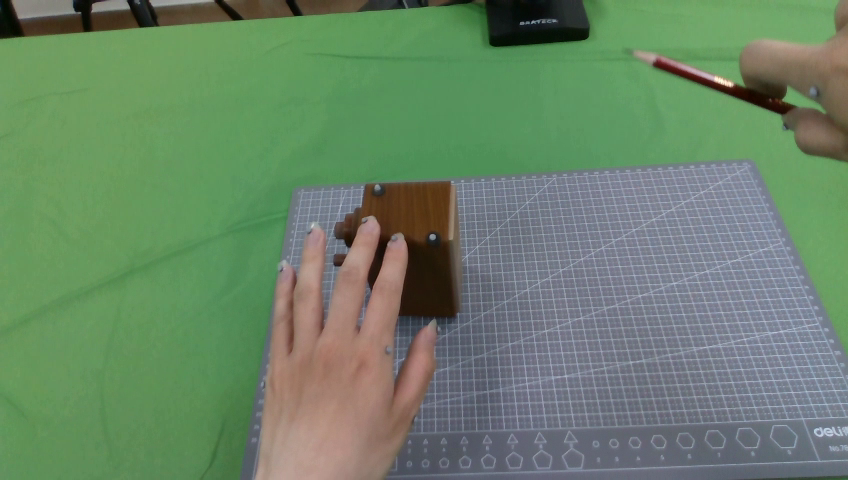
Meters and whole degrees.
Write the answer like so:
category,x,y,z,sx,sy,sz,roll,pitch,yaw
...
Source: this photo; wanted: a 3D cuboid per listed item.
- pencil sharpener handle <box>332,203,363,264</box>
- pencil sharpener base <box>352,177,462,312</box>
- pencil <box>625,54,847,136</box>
category,x,y,z,sx,sy,sz,roll,pitch,yaw
pencil sharpener handle,-0.063,-0.001,0.475,0.030,0.068,0.035,-1,57,6
pencil sharpener base,-0.011,0.007,0.479,0.076,0.108,0.061,-1,52,6
pencil,0.206,-0.072,0.337,0.193,0.012,0.012,23,57,12
